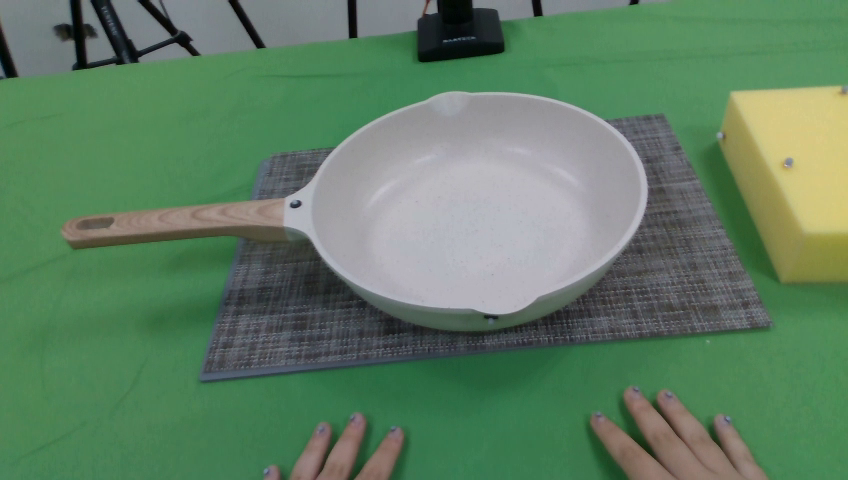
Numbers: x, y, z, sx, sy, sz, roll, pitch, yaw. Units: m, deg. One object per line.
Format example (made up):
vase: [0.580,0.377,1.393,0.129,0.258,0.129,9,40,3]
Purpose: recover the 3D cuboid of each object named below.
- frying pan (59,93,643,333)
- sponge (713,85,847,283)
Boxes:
frying pan: [-0.062,-0.024,0.536,0.489,0.103,0.303,-3,42,-5]
sponge: [0.351,-0.057,0.538,0.118,0.061,0.205,-2,43,7]
